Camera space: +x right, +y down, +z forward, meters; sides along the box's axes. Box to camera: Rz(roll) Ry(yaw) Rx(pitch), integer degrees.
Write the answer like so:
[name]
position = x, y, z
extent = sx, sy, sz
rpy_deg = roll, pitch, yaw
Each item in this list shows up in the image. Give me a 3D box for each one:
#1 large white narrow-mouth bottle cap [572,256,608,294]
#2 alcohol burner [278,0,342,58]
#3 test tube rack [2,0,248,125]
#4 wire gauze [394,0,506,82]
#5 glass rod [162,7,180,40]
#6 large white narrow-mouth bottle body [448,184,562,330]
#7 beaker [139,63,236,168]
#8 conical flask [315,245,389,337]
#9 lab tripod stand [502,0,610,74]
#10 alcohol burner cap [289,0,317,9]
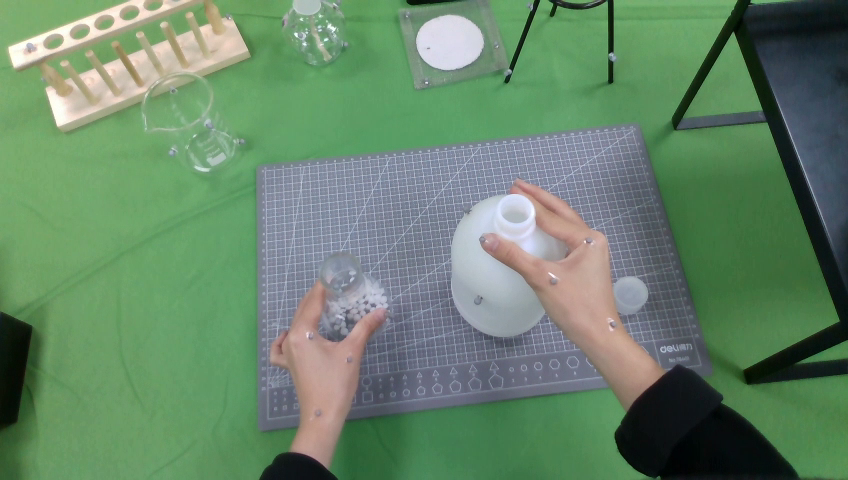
[large white narrow-mouth bottle cap]
position = 0.173, 0.037, 0.634
extent = 0.038, 0.024, 0.037
rpy_deg = -1, 67, 3
[alcohol burner]
position = -0.138, -0.275, 0.718
extent = 0.078, 0.120, 0.077
rpy_deg = 0, 65, 1
[test tube rack]
position = -0.346, -0.232, 0.719
extent = 0.242, 0.086, 0.066
rpy_deg = -25, 69, -9
[wire gauze]
position = 0.032, -0.262, 0.766
extent = 0.121, 0.011, 0.124
rpy_deg = -11, 68, -4
[glass rod]
position = -0.304, -0.295, 0.673
extent = 0.008, 0.201, 0.008
rpy_deg = 1, 65, -3
[large white narrow-mouth bottle body]
position = 0.072, 0.010, 0.550
extent = 0.102, 0.196, 0.101
rpy_deg = -1, 65, 3
[beaker]
position = -0.258, -0.130, 0.668
extent = 0.073, 0.101, 0.084
rpy_deg = 38, 73, 16
[conical flask]
position = -0.075, 0.044, 0.577
extent = 0.075, 0.123, 0.075
rpy_deg = 0, 67, 1
[lab tripod stand]
position = 0.162, -0.262, 0.696
extent = 0.148, 0.132, 0.147
rpy_deg = 0, 66, 0
[alcohol burner cap]
position = -0.139, -0.291, 0.685
extent = 0.034, 0.048, 0.033
rpy_deg = 3, 65, -7
